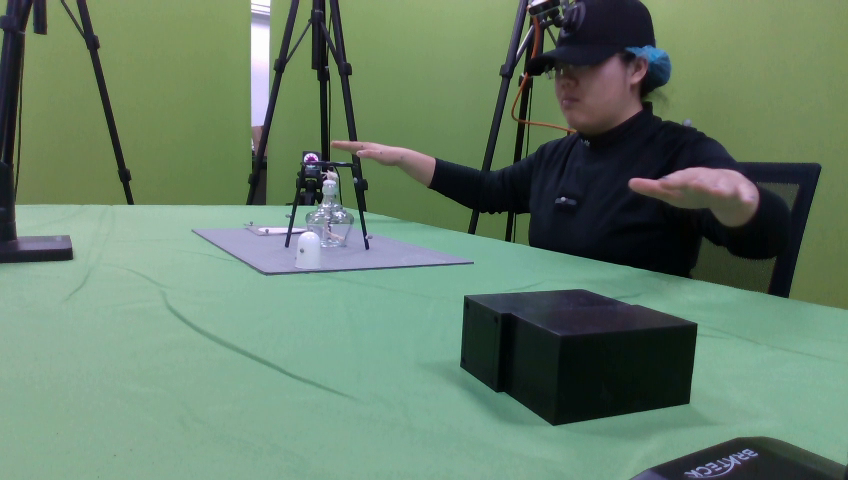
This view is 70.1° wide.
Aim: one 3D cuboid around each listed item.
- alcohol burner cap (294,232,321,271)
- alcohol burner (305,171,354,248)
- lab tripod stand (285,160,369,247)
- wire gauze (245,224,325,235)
[{"bbox_3d":[-0.144,0.013,0.748,0.034,0.048,0.034,3,6,0],"label":"alcohol burner cap"},{"bbox_3d":[-0.148,-0.048,0.949,0.078,0.119,0.078,1,6,0],"label":"alcohol burner"},{"bbox_3d":[-0.151,-0.058,0.947,0.148,0.131,0.148,1,6,0],"label":"lab tripod stand"},{"bbox_3d":[-0.256,-0.020,1.108,0.122,0.011,0.124,-1,6,-28],"label":"wire gauze"}]
